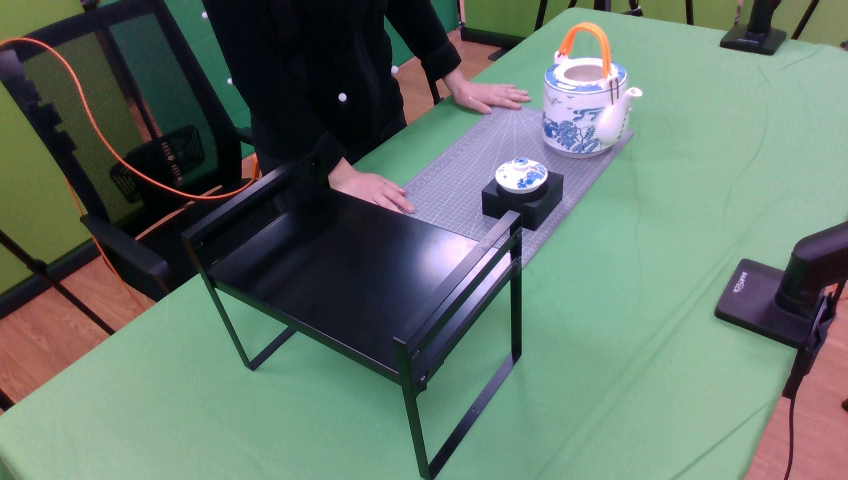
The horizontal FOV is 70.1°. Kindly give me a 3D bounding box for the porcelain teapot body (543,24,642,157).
[{"bbox_3d":[0.306,-0.258,1.070,0.146,0.226,0.203,-26,44,-20],"label":"porcelain teapot body"}]

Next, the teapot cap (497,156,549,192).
[{"bbox_3d":[0.161,-0.113,0.986,0.085,0.044,0.085,-2,42,2],"label":"teapot cap"}]
